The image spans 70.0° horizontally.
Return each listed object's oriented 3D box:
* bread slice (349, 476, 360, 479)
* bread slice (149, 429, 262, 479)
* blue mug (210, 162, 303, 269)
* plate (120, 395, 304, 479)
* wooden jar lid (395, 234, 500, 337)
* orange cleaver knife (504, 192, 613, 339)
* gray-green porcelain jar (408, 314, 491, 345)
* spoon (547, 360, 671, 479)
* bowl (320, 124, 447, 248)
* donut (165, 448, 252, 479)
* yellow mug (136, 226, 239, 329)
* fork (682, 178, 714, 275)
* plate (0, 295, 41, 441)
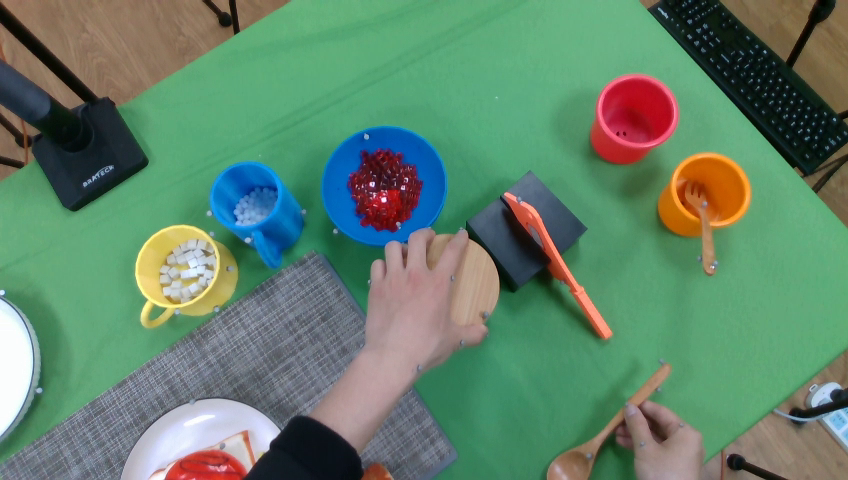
[{"bbox_3d":[-0.053,0.297,0.629,0.018,0.135,0.106,-27,74,-14],"label":"bread slice"},{"bbox_3d":[-0.247,0.289,0.686,0.131,0.019,0.104,-22,75,-8],"label":"bread slice"},{"bbox_3d":[-0.195,-0.021,0.729,0.082,0.106,0.116,-16,75,-2],"label":"blue mug"},{"bbox_3d":[-0.235,0.282,0.683,0.209,0.038,0.208,0,75,2],"label":"plate"},{"bbox_3d":[0.024,0.047,0.629,0.108,0.021,0.108,0,77,-1],"label":"wooden jar lid"},{"bbox_3d":[0.158,0.031,0.716,0.012,0.076,0.212,-38,107,-7],"label":"orange cleaver knife"},{"bbox_3d":[0.027,0.064,0.690,0.106,0.127,0.105,0,75,2],"label":"gray-green porcelain jar"},{"bbox_3d":[0.212,0.209,0.685,0.194,0.022,0.041,-49,55,4],"label":"spoon"},{"bbox_3d":[-0.046,-0.056,0.747,0.151,0.077,0.150,0,76,2],"label":"bowl"},{"bbox_3d":[-0.233,0.277,0.655,0.099,0.048,0.098,1,76,-2],"label":"donut"},{"bbox_3d":[-0.294,0.052,0.733,0.099,0.064,0.130,32,80,10],"label":"yellow mug"},{"bbox_3d":[0.314,-0.021,0.690,0.028,0.019,0.206,27,34,2],"label":"fork"},{"bbox_3d":[-0.559,0.161,0.728,0.207,0.039,0.206,0,76,1],"label":"plate"}]
